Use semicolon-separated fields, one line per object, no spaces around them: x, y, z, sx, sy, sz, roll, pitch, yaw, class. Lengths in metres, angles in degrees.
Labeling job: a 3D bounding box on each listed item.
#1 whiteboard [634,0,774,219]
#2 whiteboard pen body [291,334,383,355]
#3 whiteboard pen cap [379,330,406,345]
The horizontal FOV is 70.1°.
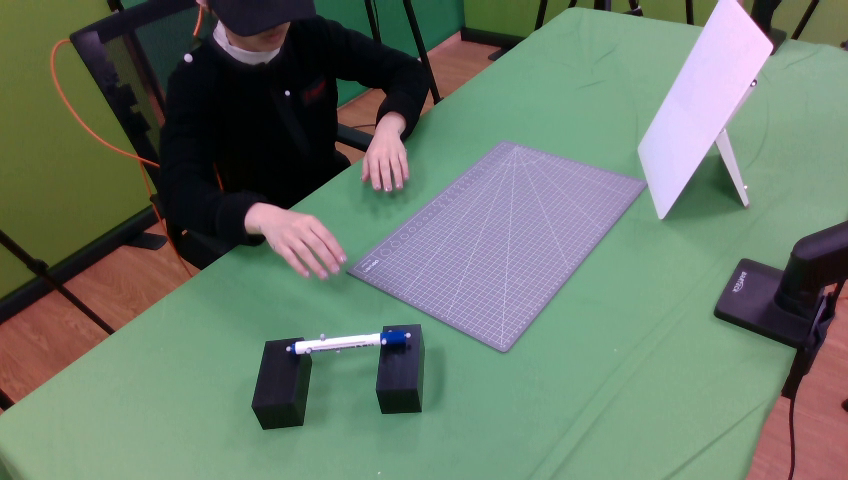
0.485;-0.192;0.957;0.144;0.305;0.216;14;41;-4;whiteboard
-0.098;0.131;0.762;0.141;0.017;0.017;-5;41;1;whiteboard pen body
-0.040;0.123;0.760;0.033;0.018;0.018;-6;40;2;whiteboard pen cap
